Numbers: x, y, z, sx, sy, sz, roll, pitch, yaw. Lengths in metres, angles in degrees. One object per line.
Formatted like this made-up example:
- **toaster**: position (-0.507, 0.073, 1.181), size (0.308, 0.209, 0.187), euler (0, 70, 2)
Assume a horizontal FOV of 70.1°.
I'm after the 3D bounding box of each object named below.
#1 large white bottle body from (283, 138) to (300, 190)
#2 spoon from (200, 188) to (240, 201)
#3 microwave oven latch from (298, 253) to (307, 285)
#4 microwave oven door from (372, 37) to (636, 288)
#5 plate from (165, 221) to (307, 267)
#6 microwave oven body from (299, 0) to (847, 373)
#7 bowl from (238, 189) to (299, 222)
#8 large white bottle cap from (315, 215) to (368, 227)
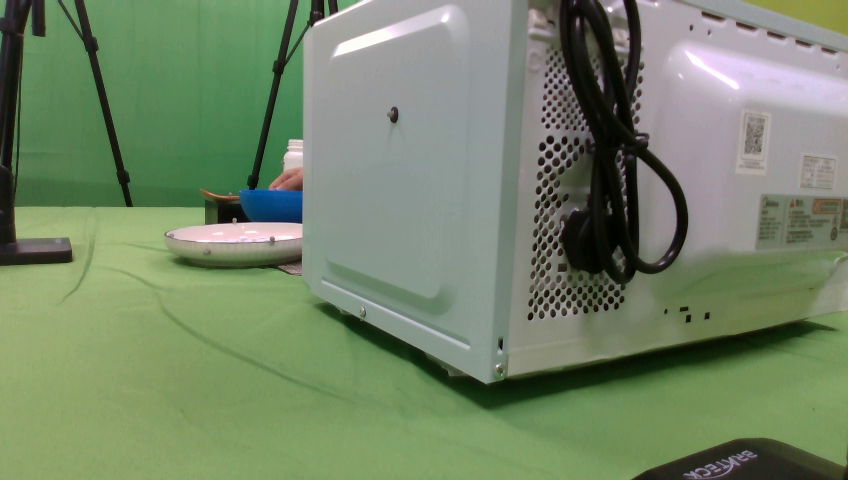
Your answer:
- **large white bottle body**: position (-0.265, -0.144, 1.423), size (0.131, 0.184, 0.130), euler (2, 7, 0)
- **spoon**: position (-0.338, -0.080, 1.190), size (0.194, 0.021, 0.041), euler (5, 2, -19)
- **microwave oven latch**: position (-0.081, 0.027, 0.582), size (0.079, 0.029, 0.030), euler (-1, 7, -32)
- **microwave oven door**: position (0.109, -0.080, 0.686), size (0.358, 0.243, 0.039), euler (-2, 9, -33)
- **plate**: position (-0.241, 0.004, 0.829), size (0.209, 0.038, 0.209), euler (0, 9, 0)
- **microwave oven body**: position (0.151, -0.055, 0.542), size (0.444, 0.260, 0.324), euler (-2, 7, -33)
- **bowl**: position (-0.245, -0.046, 1.052), size (0.151, 0.077, 0.151), euler (3, 8, 0)
- **large white bottle cap**: position (-0.178, -0.041, 1.309), size (0.115, 0.018, 0.115), euler (2, 7, 0)
